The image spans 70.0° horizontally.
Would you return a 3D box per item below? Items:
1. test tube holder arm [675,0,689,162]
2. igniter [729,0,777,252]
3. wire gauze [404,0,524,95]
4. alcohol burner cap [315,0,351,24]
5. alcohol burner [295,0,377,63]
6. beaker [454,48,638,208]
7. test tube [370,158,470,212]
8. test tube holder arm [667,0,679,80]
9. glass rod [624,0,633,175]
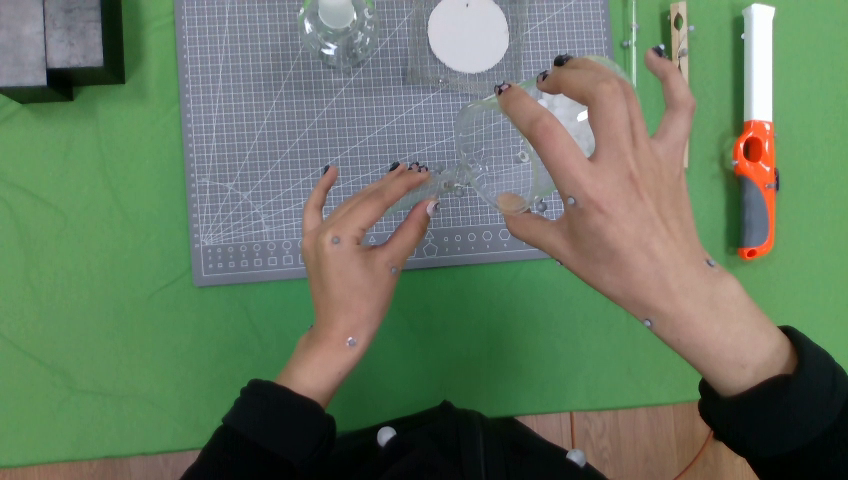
[{"bbox_3d":[0.277,-0.173,0.651,0.013,0.015,0.178,-4,89,29],"label":"test tube holder arm"},{"bbox_3d":[0.356,-0.124,0.654,0.057,0.025,0.276,3,87,-16],"label":"igniter"},{"bbox_3d":[0.044,-0.220,0.633,0.125,0.011,0.121,7,88,-6],"label":"wire gauze"},{"bbox_3d":[-0.081,-0.215,0.531,0.034,0.048,0.033,1,81,-6],"label":"alcohol burner cap"},{"bbox_3d":[-0.084,-0.212,0.567,0.078,0.119,0.078,0,87,-3],"label":"alcohol burner"},{"bbox_3d":[0.078,-0.074,0.388,0.100,0.084,0.074,-29,95,-24],"label":"beaker"},{"bbox_3d":[-0.008,-0.040,0.469,0.017,0.149,0.017,3,82,-27],"label":"test tube"},{"bbox_3d":[0.270,-0.218,0.655,0.010,0.015,0.087,-3,89,29],"label":"test tube holder arm"},{"bbox_3d":[0.219,-0.169,0.651,0.008,0.008,0.199,1,90,-6],"label":"glass rod"}]
